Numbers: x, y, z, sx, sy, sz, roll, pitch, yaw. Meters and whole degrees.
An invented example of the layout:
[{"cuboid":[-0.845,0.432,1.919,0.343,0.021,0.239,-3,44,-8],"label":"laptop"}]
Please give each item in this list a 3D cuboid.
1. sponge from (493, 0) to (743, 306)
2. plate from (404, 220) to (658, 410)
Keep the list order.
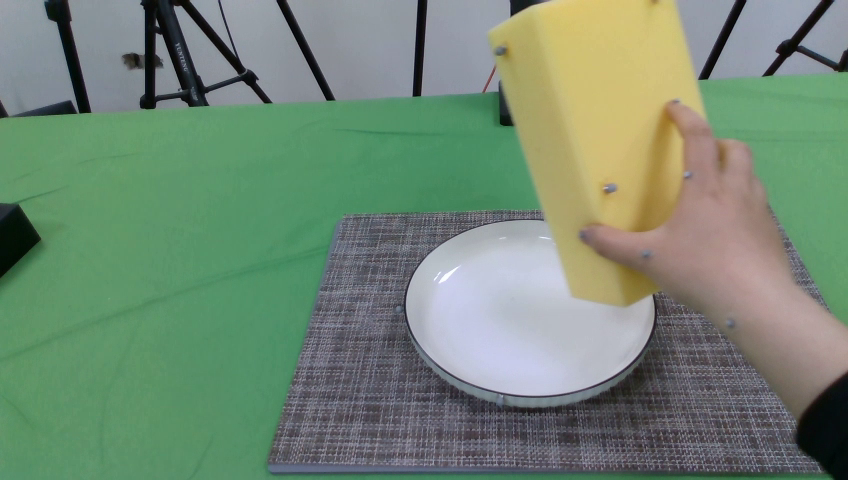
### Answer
[{"cuboid":[0.143,-0.070,0.439,0.118,0.207,0.060,-24,11,-20],"label":"sponge"},{"cuboid":[0.088,0.060,0.517,0.207,0.039,0.205,-4,40,4],"label":"plate"}]
